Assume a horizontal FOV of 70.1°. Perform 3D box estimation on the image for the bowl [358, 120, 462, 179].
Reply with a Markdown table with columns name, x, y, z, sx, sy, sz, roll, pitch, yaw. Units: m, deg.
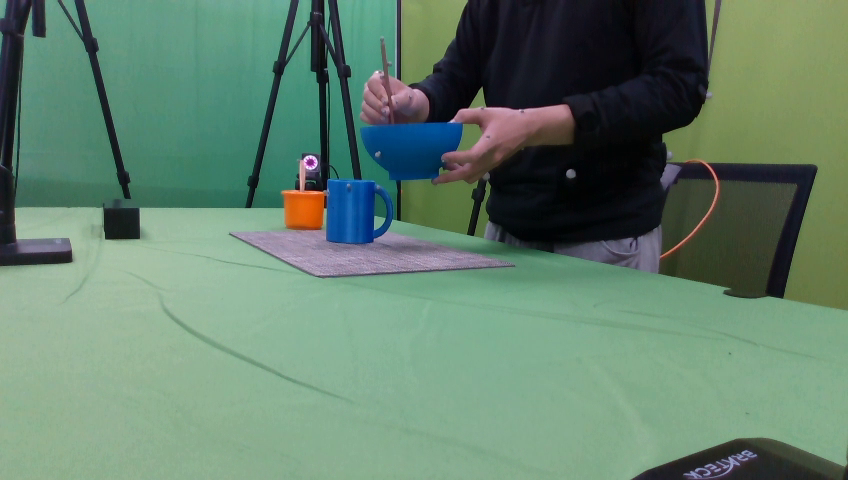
| name | x | y | z | sx | sy | sz | roll | pitch | yaw |
| --- | --- | --- | --- | --- | --- | --- | --- | --- | --- |
| bowl | -0.018 | -0.130 | 0.878 | 0.151 | 0.077 | 0.151 | -3 | 9 | 1 |

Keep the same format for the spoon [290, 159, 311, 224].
| name | x | y | z | sx | sy | sz | roll | pitch | yaw |
| --- | --- | --- | --- | --- | --- | --- | --- | --- | --- |
| spoon | -0.256 | -0.104 | 1.265 | 0.042 | 0.193 | 0.021 | 1 | -37 | -9 |

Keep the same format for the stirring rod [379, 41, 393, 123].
| name | x | y | z | sx | sy | sz | roll | pitch | yaw |
| --- | --- | --- | --- | --- | --- | --- | --- | --- | --- |
| stirring rod | -0.052 | -0.201 | 0.883 | 0.006 | 0.176 | 0.014 | -8 | 5 | -17 |

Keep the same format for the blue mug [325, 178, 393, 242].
| name | x | y | z | sx | sy | sz | roll | pitch | yaw |
| --- | --- | --- | --- | --- | --- | --- | --- | --- | --- |
| blue mug | -0.111 | -0.052 | 1.034 | 0.116 | 0.106 | 0.082 | 3 | 7 | 7 |
